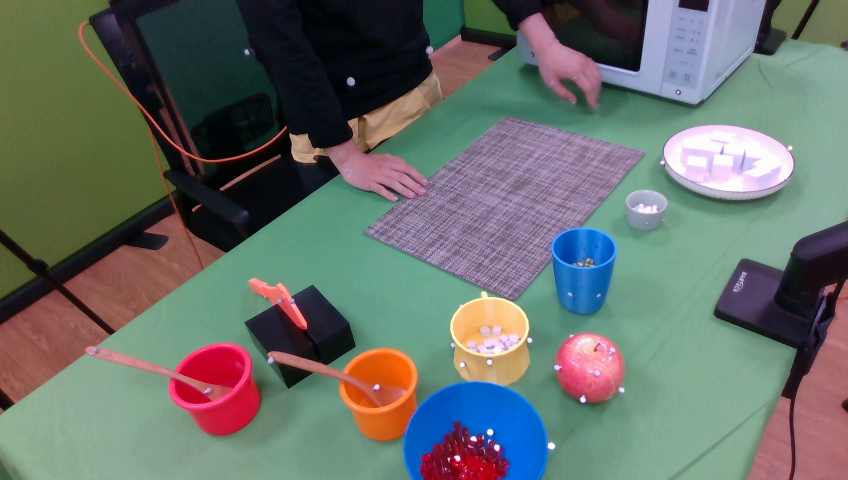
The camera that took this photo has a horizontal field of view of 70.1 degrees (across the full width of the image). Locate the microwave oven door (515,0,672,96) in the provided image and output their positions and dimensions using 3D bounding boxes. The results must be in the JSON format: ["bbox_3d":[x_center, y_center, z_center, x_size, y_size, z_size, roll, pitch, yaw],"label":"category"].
[{"bbox_3d":[0.344,-0.455,1.259,0.353,0.245,0.039,26,51,33],"label":"microwave oven door"}]

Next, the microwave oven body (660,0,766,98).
[{"bbox_3d":[0.472,-0.513,1.317,0.438,0.261,0.327,26,51,34],"label":"microwave oven body"}]

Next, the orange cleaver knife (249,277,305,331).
[{"bbox_3d":[-0.210,0.088,0.855,0.012,0.077,0.210,-28,15,-25],"label":"orange cleaver knife"}]

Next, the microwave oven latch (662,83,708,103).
[{"bbox_3d":[0.518,-0.296,1.204,0.078,0.029,0.030,28,52,35],"label":"microwave oven latch"}]

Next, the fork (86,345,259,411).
[{"bbox_3d":[-0.298,0.166,0.728,0.209,0.018,0.028,28,46,-23],"label":"fork"}]

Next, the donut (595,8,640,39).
[{"bbox_3d":[0.436,-0.488,1.359,0.099,0.048,0.098,-12,34,9],"label":"donut"}]

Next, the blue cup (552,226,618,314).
[{"bbox_3d":[0.218,0.047,0.826,0.092,0.101,0.092,-6,40,5],"label":"blue cup"}]

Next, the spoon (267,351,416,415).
[{"bbox_3d":[-0.091,0.162,0.699,0.021,0.195,0.041,-45,30,27],"label":"spoon"}]

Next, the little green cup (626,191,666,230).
[{"bbox_3d":[0.352,-0.046,0.963,0.061,0.039,0.061,-4,40,4],"label":"little green cup"}]

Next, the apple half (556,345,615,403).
[{"bbox_3d":[0.181,0.167,0.709,0.080,0.081,0.033,29,50,35],"label":"apple half"}]

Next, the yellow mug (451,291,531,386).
[{"bbox_3d":[0.085,0.120,0.786,0.100,0.064,0.130,-7,39,1],"label":"yellow mug"}]

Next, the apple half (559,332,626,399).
[{"bbox_3d":[0.209,0.147,0.730,0.080,0.075,0.053,26,48,38],"label":"apple half"}]

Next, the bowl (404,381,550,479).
[{"bbox_3d":[0.058,0.235,0.645,0.151,0.077,0.150,-4,39,4],"label":"bowl"}]

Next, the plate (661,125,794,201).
[{"bbox_3d":[0.513,-0.128,1.035,0.207,0.039,0.206,-4,40,4],"label":"plate"}]

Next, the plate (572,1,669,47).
[{"bbox_3d":[0.441,-0.484,1.366,0.209,0.038,0.208,-5,41,5],"label":"plate"}]
